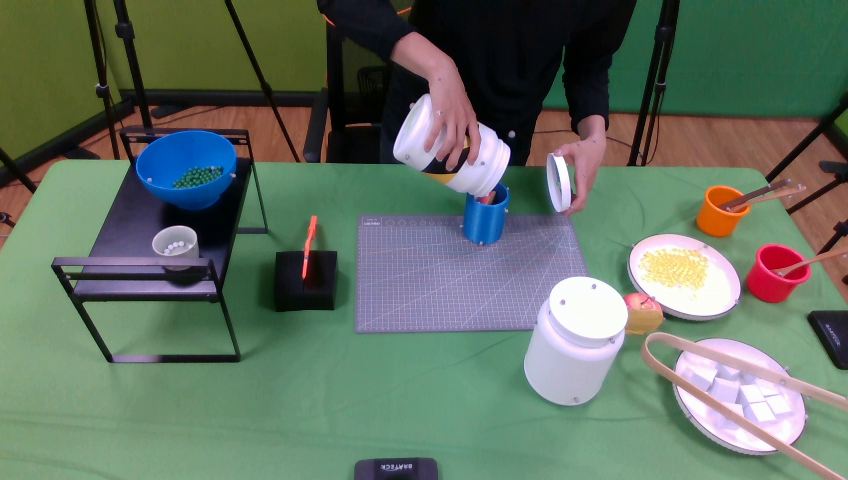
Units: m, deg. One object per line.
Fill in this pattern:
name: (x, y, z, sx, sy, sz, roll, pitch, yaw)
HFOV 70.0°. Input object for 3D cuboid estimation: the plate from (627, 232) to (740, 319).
plate: (0.489, 0.070, 1.156, 0.209, 0.038, 0.208, 3, 46, -3)

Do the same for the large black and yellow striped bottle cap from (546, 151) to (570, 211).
large black and yellow striped bottle cap: (0.255, -0.114, 1.158, 0.019, 0.115, 0.114, -9, 47, 1)

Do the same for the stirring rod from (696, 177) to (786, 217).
stirring rod: (0.648, -0.087, 1.244, 0.176, 0.006, 0.014, -25, 50, 29)

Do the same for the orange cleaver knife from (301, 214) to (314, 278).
orange cleaver knife: (-0.218, 0.007, 1.131, 0.012, 0.077, 0.210, 6, 19, -9)

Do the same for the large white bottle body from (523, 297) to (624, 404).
large white bottle body: (0.235, 0.159, 0.952, 0.131, 0.185, 0.130, 2, 47, -2)

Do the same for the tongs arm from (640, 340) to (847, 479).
tongs arm: (0.500, 0.277, 0.919, 0.386, 0.028, 0.028, 34, 59, 22)

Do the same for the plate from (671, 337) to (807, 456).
plate: (0.504, 0.254, 0.984, 0.208, 0.039, 0.206, 2, 46, -2)

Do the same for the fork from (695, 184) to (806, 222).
fork: (0.658, -0.074, 1.230, 0.207, 0.019, 0.028, -24, 34, 36)

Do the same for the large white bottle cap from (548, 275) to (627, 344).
large white bottle cap: (0.240, 0.100, 0.890, 0.115, 0.018, 0.114, 3, 47, -3)

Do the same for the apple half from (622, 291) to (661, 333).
apple half: (0.372, 0.124, 1.073, 0.081, 0.075, 0.053, 0, 42, 1)

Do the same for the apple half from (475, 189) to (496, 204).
apple half: (0.110, -0.067, 1.199, 0.033, 0.081, 0.081, 27, 50, 10)

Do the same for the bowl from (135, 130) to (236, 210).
bowl: (-0.375, -0.102, 0.978, 0.151, 0.077, 0.150, 2, 46, -2)

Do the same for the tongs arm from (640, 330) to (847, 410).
tongs arm: (0.543, 0.225, 0.969, 0.384, 0.026, 0.050, 22, 52, 13)

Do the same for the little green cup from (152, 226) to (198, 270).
little green cup: (-0.364, 0.013, 0.895, 0.061, 0.039, 0.061, 3, 46, -3)

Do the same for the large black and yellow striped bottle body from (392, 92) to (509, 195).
large black and yellow striped bottle body: (0.050, -0.169, 1.096, 0.184, 0.131, 0.130, 26, 44, -17)

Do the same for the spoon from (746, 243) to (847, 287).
spoon: (0.702, 0.043, 1.126, 0.194, 0.022, 0.041, -29, 38, 30)

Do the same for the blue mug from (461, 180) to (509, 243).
blue mug: (0.114, -0.070, 1.210, 0.082, 0.106, 0.115, -12, 48, -15)
